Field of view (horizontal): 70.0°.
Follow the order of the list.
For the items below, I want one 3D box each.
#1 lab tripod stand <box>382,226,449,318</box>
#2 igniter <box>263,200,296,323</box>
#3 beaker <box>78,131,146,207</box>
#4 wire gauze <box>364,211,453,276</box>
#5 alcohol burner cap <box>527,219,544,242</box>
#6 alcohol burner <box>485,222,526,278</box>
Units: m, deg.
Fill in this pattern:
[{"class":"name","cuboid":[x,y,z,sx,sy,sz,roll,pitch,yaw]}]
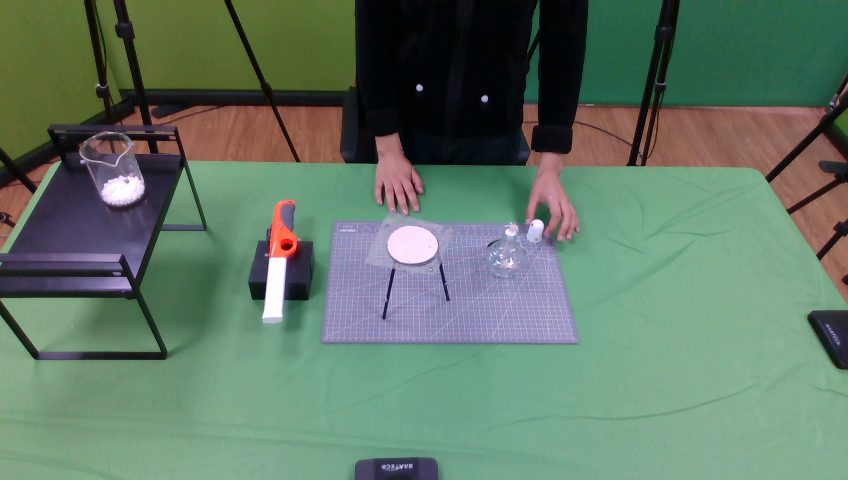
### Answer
[{"class":"lab tripod stand","cuboid":[-0.024,0.055,1.062,0.148,0.132,0.147,2,48,-2]},{"class":"igniter","cuboid":[-0.260,0.027,1.083,0.057,0.025,0.274,0,49,-7]},{"class":"beaker","cuboid":[-0.488,-0.108,0.961,0.074,0.101,0.083,-25,54,-25]},{"class":"wire gauze","cuboid":[-0.024,0.006,1.016,0.121,0.011,0.124,14,48,9]},{"class":"alcohol burner cap","cuboid":[0.226,-0.021,1.218,0.034,0.048,0.033,0,48,0]},{"class":"alcohol burner","cuboid":[0.154,0.014,1.129,0.078,0.119,0.077,3,44,-2]}]
